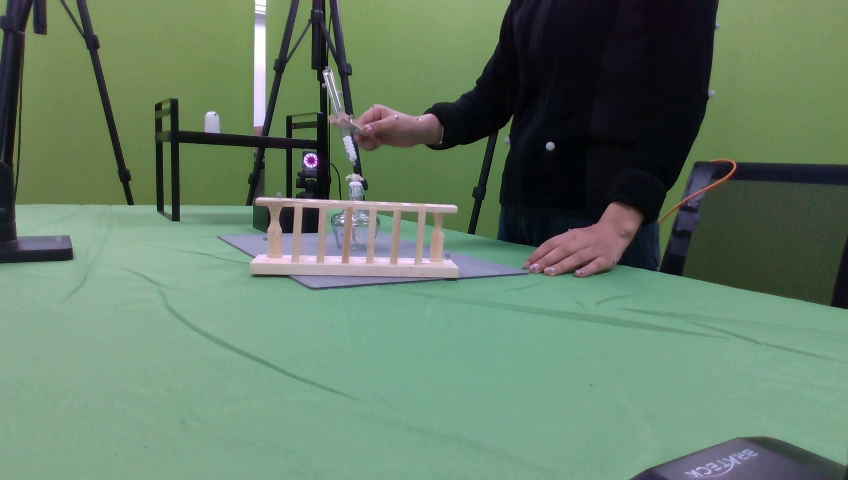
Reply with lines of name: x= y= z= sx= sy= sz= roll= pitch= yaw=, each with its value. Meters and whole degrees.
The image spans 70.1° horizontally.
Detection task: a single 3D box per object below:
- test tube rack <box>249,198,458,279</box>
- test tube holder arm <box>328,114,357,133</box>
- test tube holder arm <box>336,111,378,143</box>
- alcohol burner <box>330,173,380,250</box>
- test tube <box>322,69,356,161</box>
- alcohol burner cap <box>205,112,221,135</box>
test tube rack: x=-0.082 y=-0.002 z=0.732 sx=0.243 sy=0.085 sz=0.066 roll=2 pitch=8 yaw=-8
test tube holder arm: x=-0.125 y=-0.183 z=0.958 sx=0.010 sy=0.015 sz=0.088 roll=-18 pitch=-6 yaw=21
test tube holder arm: x=-0.107 y=-0.184 z=0.999 sx=0.013 sy=0.015 sz=0.179 roll=-16 pitch=-6 yaw=13
alcohol burner: x=-0.107 y=-0.044 z=0.938 sx=0.078 sy=0.119 sz=0.078 roll=1 pitch=6 yaw=0
test tube: x=-0.131 y=-0.193 z=0.935 sx=0.017 sy=0.150 sz=0.017 roll=-16 pitch=-5 yaw=-1
alcohol burner cap: x=-0.443 y=-0.245 z=1.270 sx=0.034 sy=0.048 sz=0.034 roll=3 pitch=8 yaw=0
